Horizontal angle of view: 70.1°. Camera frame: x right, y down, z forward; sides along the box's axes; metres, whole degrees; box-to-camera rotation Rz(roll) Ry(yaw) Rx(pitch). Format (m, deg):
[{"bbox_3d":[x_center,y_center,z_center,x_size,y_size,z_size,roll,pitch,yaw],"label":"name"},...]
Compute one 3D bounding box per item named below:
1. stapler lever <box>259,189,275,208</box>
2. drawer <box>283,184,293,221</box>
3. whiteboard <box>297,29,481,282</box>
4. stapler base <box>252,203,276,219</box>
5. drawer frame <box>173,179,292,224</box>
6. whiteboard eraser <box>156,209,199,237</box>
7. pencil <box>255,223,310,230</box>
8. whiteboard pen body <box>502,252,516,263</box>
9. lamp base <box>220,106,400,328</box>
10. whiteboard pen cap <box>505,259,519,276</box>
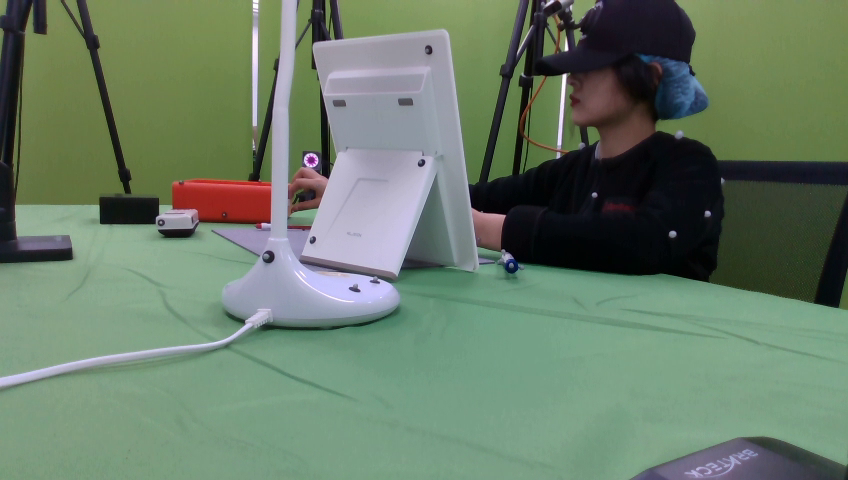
[{"bbox_3d":[-0.335,-0.090,1.300,0.027,0.040,0.118,16,4,-11],"label":"stapler lever"},{"bbox_3d":[-0.396,-0.085,1.301,0.212,0.073,0.194,1,8,-7],"label":"drawer"},{"bbox_3d":[-0.076,-0.082,0.742,0.216,0.305,0.144,9,29,37],"label":"whiteboard"},{"bbox_3d":[-0.341,-0.065,1.301,0.041,0.024,0.130,16,4,-11],"label":"stapler base"},{"bbox_3d":[-0.400,-0.086,1.300,0.214,0.082,0.201,1,8,-8],"label":"drawer frame"},{"bbox_3d":[-0.411,-0.029,1.016,0.056,0.042,0.112,2,7,-16],"label":"whiteboard eraser"},{"bbox_3d":[-0.216,-0.023,1.134,0.195,0.012,0.012,2,7,-21],"label":"pencil"},{"bbox_3d":[0.116,0.029,0.813,0.017,0.017,0.141,3,3,5],"label":"whiteboard pen body"},{"bbox_3d":[-0.101,-0.023,0.531,0.160,0.180,0.179,4,10,10],"label":"lamp base"},{"bbox_3d":[0.110,0.032,0.754,0.018,0.018,0.033,3,10,7],"label":"whiteboard pen cap"}]
